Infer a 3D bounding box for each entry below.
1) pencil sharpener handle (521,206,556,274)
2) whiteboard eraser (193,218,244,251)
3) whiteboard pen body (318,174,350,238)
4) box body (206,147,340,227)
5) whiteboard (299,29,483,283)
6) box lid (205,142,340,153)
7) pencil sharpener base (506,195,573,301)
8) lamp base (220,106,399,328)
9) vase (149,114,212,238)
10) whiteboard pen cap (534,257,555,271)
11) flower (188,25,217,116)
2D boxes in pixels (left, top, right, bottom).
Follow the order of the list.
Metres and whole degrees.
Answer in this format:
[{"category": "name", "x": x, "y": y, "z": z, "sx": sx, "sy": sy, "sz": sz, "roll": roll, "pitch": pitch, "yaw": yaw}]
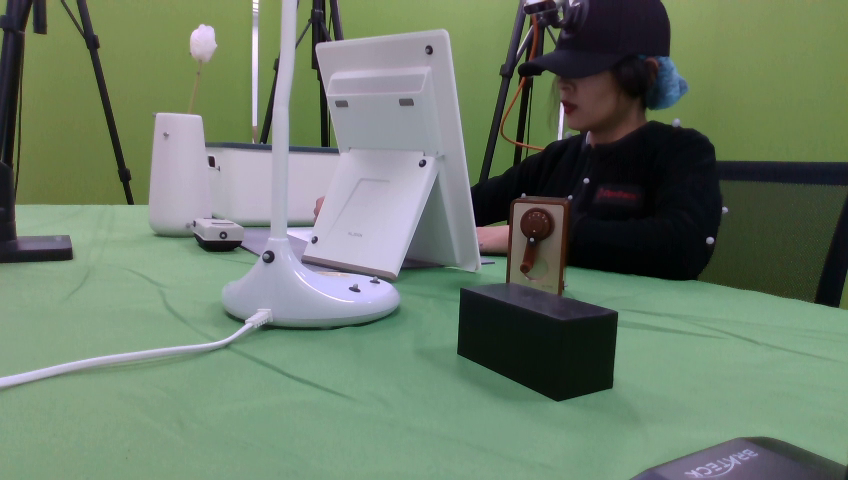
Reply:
[{"category": "pencil sharpener handle", "x": 0.112, "y": 0.000, "z": 0.613, "sx": 0.036, "sy": 0.067, "sz": 0.031, "roll": 13, "pitch": 10, "yaw": 14}, {"category": "whiteboard eraser", "x": -0.307, "y": -0.009, "z": 0.900, "sx": 0.056, "sy": 0.042, "sz": 0.112, "roll": -3, "pitch": 10, "yaw": -29}, {"category": "whiteboard pen body", "x": -0.161, "y": -0.061, "z": 1.076, "sx": 0.017, "sy": 0.140, "sz": 0.017, "roll": 14, "pitch": -31, "yaw": 9}, {"category": "box body", "x": -0.276, "y": -0.122, "z": 1.320, "sx": 0.366, "sy": 0.160, "sz": 0.253, "roll": -2, "pitch": 9, "yaw": -30}, {"category": "whiteboard", "x": -0.074, "y": -0.082, "z": 0.742, "sx": 0.216, "sy": 0.305, "sz": 0.144, "roll": 9, "pitch": 29, "yaw": 38}, {"category": "box lid", "x": -0.270, "y": -0.196, "z": 1.310, "sx": 0.373, "sy": 0.015, "sz": 0.262, "roll": -2, "pitch": 9, "yaw": -30}, {"category": "pencil sharpener base", "x": 0.127, "y": 0.007, "z": 0.663, "sx": 0.061, "sy": 0.107, "sz": 0.077, "roll": 5, "pitch": 8, "yaw": 15}, {"category": "lamp base", "x": -0.101, "y": -0.023, "z": 0.531, "sx": 0.160, "sy": 0.180, "sz": 0.179, "roll": 4, "pitch": 10, "yaw": 10}, {"category": "vase", "x": -0.405, "y": -0.106, "z": 1.005, "sx": 0.098, "sy": 0.200, "sz": 0.098, "roll": 2, "pitch": 6, "yaw": 0}, {"category": "whiteboard pen cap", "x": 0.167, "y": 0.033, "z": 0.839, "sx": 0.018, "sy": 0.018, "sz": 0.033, "roll": -1, "pitch": 6, "yaw": -23}, {"category": "flower", "x": -0.394, "y": -0.189, "z": 1.011, "sx": 0.044, "sy": 0.361, "sz": 0.038, "roll": -1, "pitch": -13, "yaw": 28}]
